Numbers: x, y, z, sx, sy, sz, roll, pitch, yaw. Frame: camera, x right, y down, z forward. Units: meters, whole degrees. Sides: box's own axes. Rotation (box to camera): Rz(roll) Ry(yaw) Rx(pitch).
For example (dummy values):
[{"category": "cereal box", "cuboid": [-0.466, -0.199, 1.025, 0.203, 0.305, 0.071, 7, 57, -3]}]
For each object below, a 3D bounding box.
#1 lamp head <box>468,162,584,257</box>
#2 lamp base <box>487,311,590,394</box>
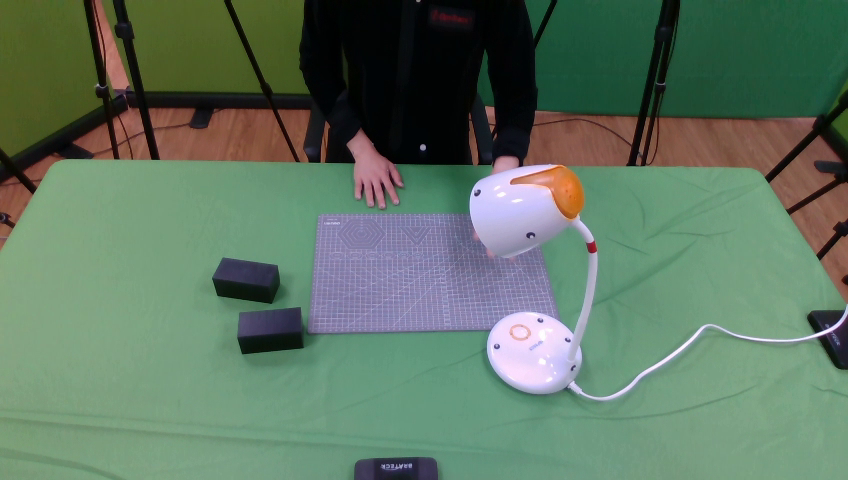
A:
[{"category": "lamp head", "cuboid": [0.135, -0.043, 0.747, 0.122, 0.113, 0.112, -15, 30, 42]}, {"category": "lamp base", "cuboid": [0.199, 0.142, 0.962, 0.178, 0.181, 0.160, 38, 56, 24]}]
